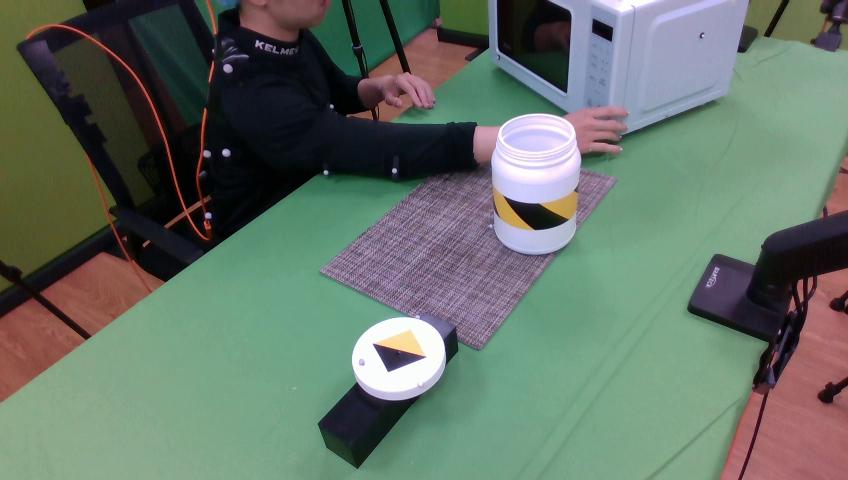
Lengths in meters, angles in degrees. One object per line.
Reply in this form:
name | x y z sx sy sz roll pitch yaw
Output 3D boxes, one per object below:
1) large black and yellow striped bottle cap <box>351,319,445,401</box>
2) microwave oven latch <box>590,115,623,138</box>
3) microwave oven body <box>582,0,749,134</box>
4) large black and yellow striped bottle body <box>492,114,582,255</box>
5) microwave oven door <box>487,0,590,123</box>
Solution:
large black and yellow striped bottle cap | -0.031 0.143 0.734 0.115 0.019 0.114 -3 40 3
microwave oven latch | 0.343 -0.222 1.141 0.030 0.029 0.078 -14 40 -5
microwave oven body | 0.382 -0.444 1.246 0.327 0.261 0.437 -22 42 -16
large black and yellow striped bottle body | 0.169 -0.083 0.912 0.131 0.185 0.130 -4 41 4
microwave oven door | 0.232 -0.420 1.231 0.039 0.245 0.352 -22 43 -16
